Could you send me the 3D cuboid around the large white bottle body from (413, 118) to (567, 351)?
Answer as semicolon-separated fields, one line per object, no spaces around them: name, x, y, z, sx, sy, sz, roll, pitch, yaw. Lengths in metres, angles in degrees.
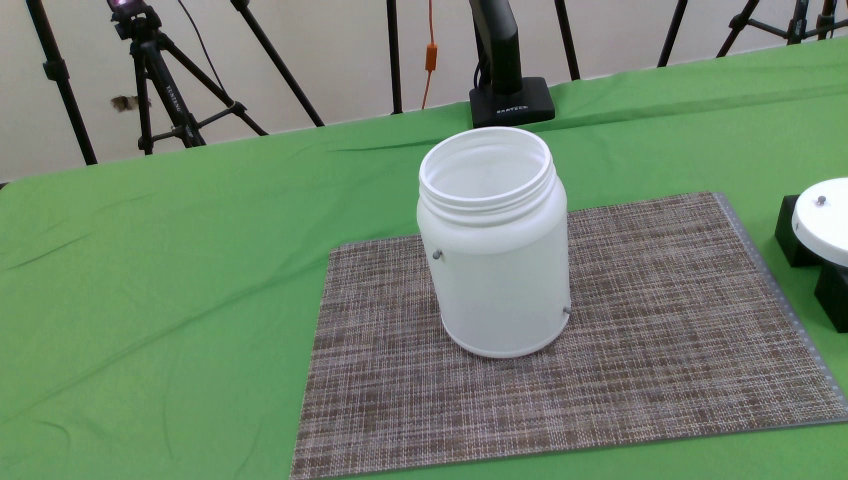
large white bottle body;0.062;-0.003;0.550;0.130;0.186;0.129;-8;41;7

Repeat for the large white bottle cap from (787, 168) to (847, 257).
large white bottle cap;0.391;-0.026;0.540;0.115;0.018;0.113;-8;40;7
